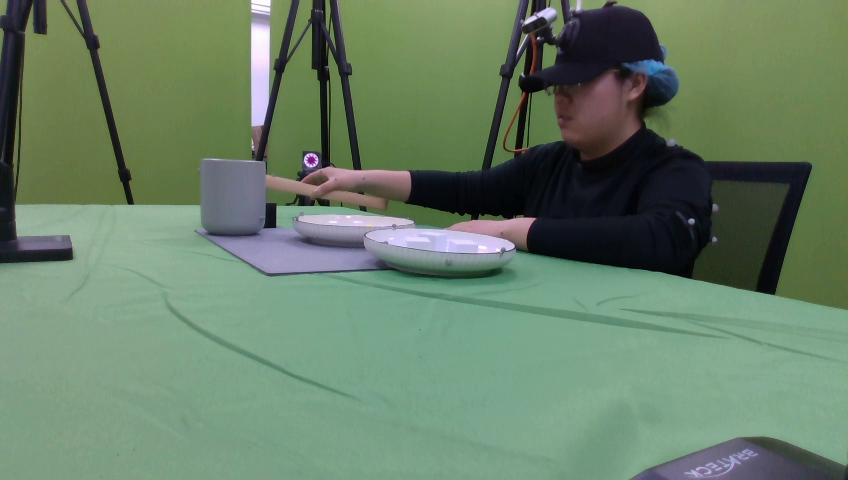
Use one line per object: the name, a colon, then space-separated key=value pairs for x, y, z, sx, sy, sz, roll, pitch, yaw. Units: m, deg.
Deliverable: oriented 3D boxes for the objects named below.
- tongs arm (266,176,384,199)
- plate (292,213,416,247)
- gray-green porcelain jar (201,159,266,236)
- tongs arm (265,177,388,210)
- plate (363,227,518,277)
tongs arm: x=-0.275 y=-0.119 z=1.403 sx=0.386 sy=0.026 sz=0.050 roll=10 pitch=3 yaw=-16
plate: x=-0.118 y=-0.017 z=1.024 sx=0.208 sy=0.039 sz=0.207 roll=2 pitch=7 yaw=0
gray-green porcelain jar: x=-0.326 y=-0.073 z=1.036 sx=0.106 sy=0.126 sz=0.106 roll=3 pitch=8 yaw=0
tongs arm: x=-0.256 y=-0.109 z=1.339 sx=0.389 sy=0.027 sz=0.028 roll=9 pitch=0 yaw=-25
plate: x=0.022 y=0.016 z=0.817 sx=0.209 sy=0.038 sz=0.209 roll=4 pitch=9 yaw=0
